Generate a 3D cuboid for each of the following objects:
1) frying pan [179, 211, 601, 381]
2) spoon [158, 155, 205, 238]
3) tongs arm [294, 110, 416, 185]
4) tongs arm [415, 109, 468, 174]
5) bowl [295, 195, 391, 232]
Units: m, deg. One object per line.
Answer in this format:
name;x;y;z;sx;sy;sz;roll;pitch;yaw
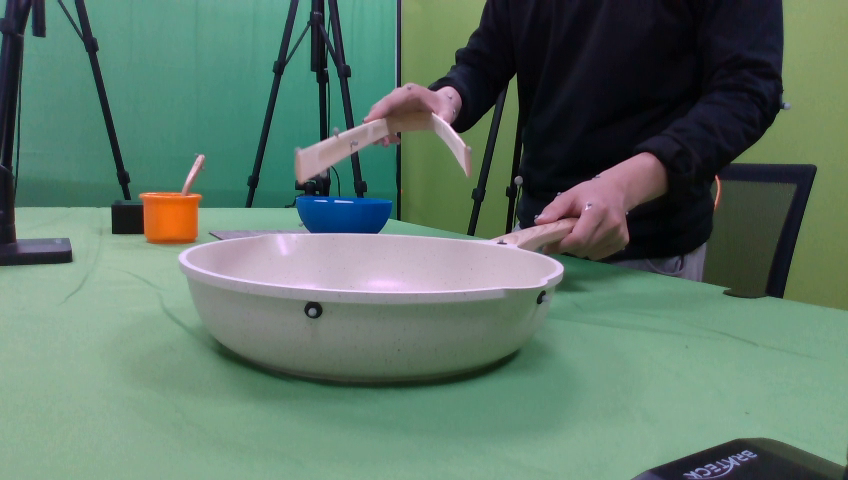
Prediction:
frying pan;0.034;0.019;0.556;0.490;0.102;0.305;-16;19;-43
spoon;-0.392;-0.076;0.998;0.041;0.193;0.021;2;-36;5
tongs arm;-0.057;-0.111;0.659;0.051;0.026;0.385;-4;16;8
tongs arm;0.015;-0.116;0.655;0.028;0.028;0.387;-11;17;-1
bowl;-0.126;-0.028;0.946;0.151;0.077;0.151;2;7;0
